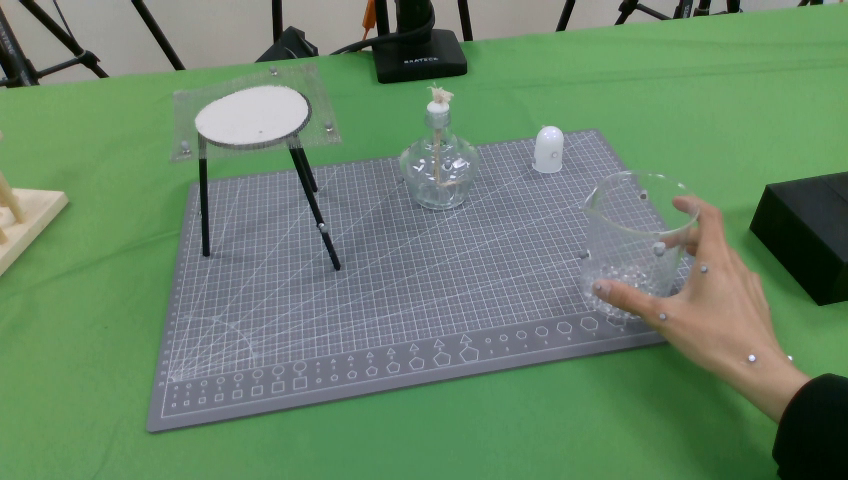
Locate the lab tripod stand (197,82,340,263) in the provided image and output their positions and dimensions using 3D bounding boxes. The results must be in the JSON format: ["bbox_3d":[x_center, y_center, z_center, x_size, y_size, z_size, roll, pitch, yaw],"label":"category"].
[{"bbox_3d":[-0.135,-0.055,0.524,0.148,0.133,0.147,-2,45,2],"label":"lab tripod stand"}]

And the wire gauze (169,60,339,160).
[{"bbox_3d":[-0.138,-0.104,0.478,0.125,0.011,0.120,-13,44,-9],"label":"wire gauze"}]

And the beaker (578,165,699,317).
[{"bbox_3d":[0.157,0.004,0.469,0.084,0.101,0.073,-1,43,4],"label":"beaker"}]

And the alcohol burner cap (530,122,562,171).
[{"bbox_3d":[0.127,-0.099,0.625,0.034,0.048,0.033,-2,43,2],"label":"alcohol burner cap"}]

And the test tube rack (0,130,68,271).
[{"bbox_3d":[-0.420,0.004,0.515,0.066,0.086,0.240,5,43,8],"label":"test tube rack"}]

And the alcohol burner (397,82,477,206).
[{"bbox_3d":[0.012,-0.092,0.571,0.078,0.120,0.077,-2,41,2],"label":"alcohol burner"}]
